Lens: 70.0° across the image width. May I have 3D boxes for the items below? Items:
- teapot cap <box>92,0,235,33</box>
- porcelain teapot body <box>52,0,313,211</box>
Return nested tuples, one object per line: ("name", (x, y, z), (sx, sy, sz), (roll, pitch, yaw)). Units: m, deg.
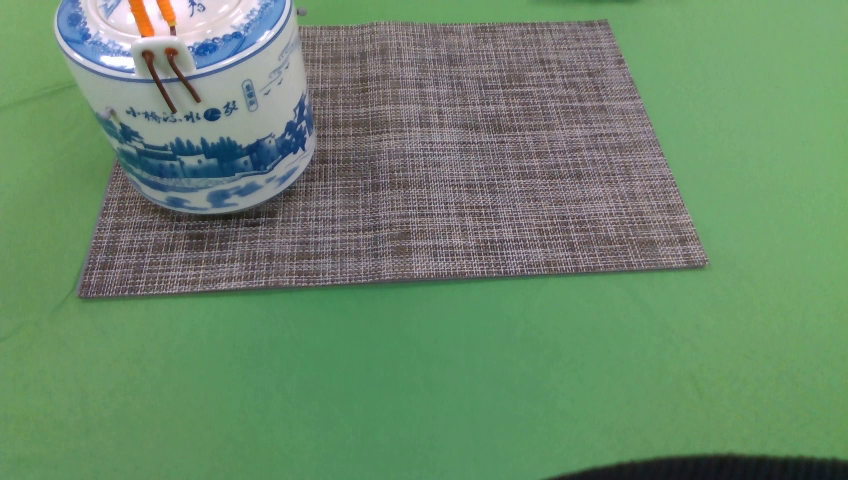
("teapot cap", (-0.156, -0.155, 0.365), (0.085, 0.044, 0.084), (1, 54, 0))
("porcelain teapot body", (-0.162, -0.156, 0.414), (0.145, 0.227, 0.203), (-8, 55, -8))
